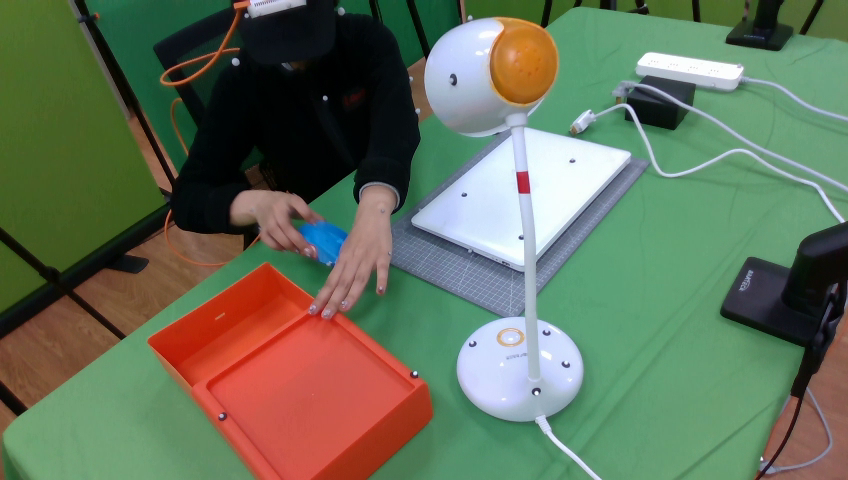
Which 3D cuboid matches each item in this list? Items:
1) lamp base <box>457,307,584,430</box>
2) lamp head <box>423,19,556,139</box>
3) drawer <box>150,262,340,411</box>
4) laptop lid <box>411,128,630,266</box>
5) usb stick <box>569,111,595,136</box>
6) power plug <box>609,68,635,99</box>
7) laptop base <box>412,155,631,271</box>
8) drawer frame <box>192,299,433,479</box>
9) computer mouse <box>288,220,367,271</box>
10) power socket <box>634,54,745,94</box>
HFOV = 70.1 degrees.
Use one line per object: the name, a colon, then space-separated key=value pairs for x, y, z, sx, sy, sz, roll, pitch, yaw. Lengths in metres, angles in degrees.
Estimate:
lamp base: x=0.115 y=0.108 z=0.713 sx=0.161 sy=0.181 sz=0.178 roll=-16 pitch=43 yaw=-8
lamp head: x=0.068 y=-0.151 z=0.563 sx=0.113 sy=0.113 sz=0.122 roll=-21 pitch=18 yaw=-13
drawer: x=-0.224 y=0.145 z=0.813 sx=0.210 sy=0.073 sz=0.195 roll=29 pitch=52 yaw=37
laptop lid: x=0.172 y=-0.093 z=1.049 sx=0.239 sy=0.013 sz=0.358 roll=23 pitch=50 yaw=36
usb stick: x=0.309 y=-0.227 z=1.189 sx=0.059 sy=0.021 sz=0.027 roll=-44 pitch=13 yaw=-19
power plug: x=0.406 y=-0.322 z=1.234 sx=0.035 sy=0.072 sz=0.052 roll=6 pitch=33 yaw=-34
laptop base: x=0.176 y=-0.084 z=1.055 sx=0.233 sy=0.023 sz=0.355 roll=21 pitch=48 yaw=36
drawer frame: x=-0.134 y=0.195 z=0.734 sx=0.202 sy=0.083 sz=0.211 roll=-35 pitch=47 yaw=-29
computer mouse: x=-0.146 y=0.005 z=0.925 sx=0.116 sy=0.041 sz=0.063 roll=25 pitch=35 yaw=16
power socket: x=0.563 y=-0.358 z=1.295 sx=0.225 sy=0.033 sz=0.072 roll=21 pitch=49 yaw=31
